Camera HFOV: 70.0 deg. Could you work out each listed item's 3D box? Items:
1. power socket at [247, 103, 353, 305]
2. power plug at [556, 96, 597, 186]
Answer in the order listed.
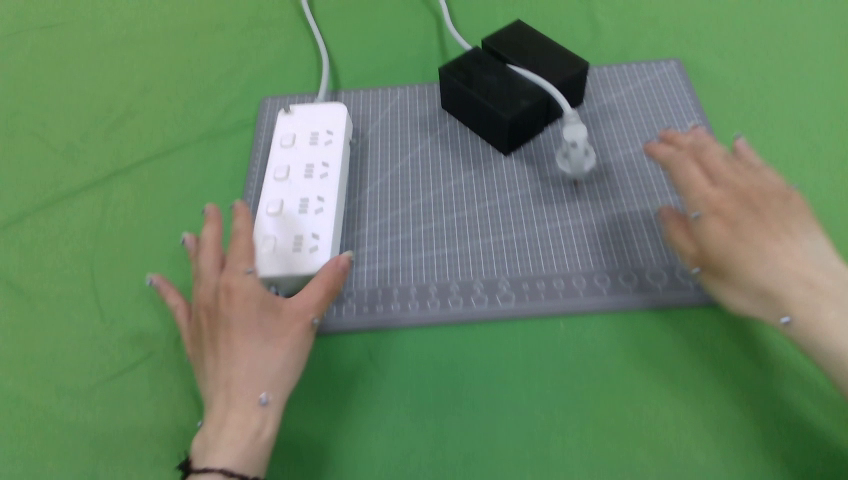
[{"bbox_3d":[-0.109,-0.045,0.556,0.072,0.033,0.224,-2,54,4],"label":"power socket"},{"bbox_3d":[0.139,-0.087,0.544,0.035,0.053,0.072,7,61,15],"label":"power plug"}]
